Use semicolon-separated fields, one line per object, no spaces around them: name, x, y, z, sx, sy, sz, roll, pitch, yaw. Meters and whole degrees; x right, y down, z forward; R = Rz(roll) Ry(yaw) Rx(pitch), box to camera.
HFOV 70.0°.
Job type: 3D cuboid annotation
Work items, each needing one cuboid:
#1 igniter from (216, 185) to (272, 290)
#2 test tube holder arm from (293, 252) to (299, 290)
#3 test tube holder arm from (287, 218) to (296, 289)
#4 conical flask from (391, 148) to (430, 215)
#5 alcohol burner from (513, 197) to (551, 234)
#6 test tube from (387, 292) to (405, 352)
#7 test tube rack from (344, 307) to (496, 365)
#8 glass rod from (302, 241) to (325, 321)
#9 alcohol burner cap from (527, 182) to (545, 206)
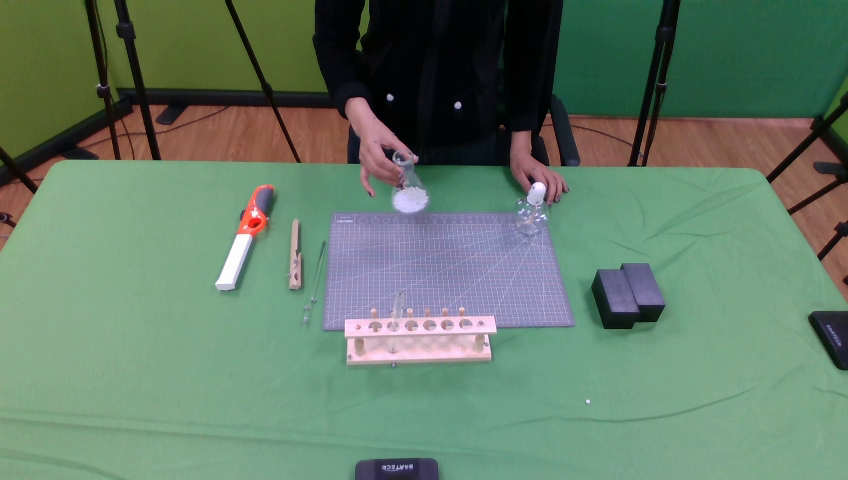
igniter;-0.347;-0.014;1.182;0.057;0.025;0.275;-1;45;8
test tube holder arm;-0.241;0.056;1.131;0.010;0.015;0.087;24;35;-33
test tube holder arm;-0.253;0.022;1.158;0.013;0.015;0.177;23;36;-34
conical flask;-0.031;-0.111;1.107;0.075;0.122;0.075;-4;50;5
alcohol burner;0.220;-0.069;1.217;0.078;0.119;0.077;3;47;-3
test tube;-0.045;0.133;0.955;0.017;0.151;0.017;5;47;-5
test tube rack;-0.009;0.154;1.007;0.242;0.085;0.066;-1;46;-5
glass rod;-0.204;0.071;1.123;0.008;0.008;0.198;4;44;0
alcohol burner cap;0.222;-0.092;1.190;0.034;0.048;0.033;2;54;-3
